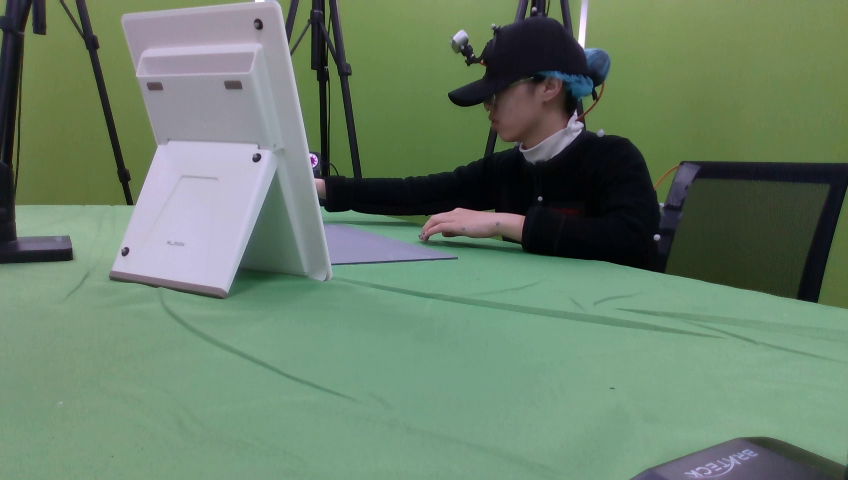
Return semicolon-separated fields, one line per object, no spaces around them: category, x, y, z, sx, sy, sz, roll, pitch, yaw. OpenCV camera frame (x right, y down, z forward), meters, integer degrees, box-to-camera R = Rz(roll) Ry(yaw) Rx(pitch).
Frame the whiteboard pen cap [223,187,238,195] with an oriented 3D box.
whiteboard pen cap;-0.403;-0.102;1.261;0.018;0.018;0.033;5;4;20

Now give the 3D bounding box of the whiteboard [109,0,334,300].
whiteboard;-0.247;-0.072;0.624;0.216;0.305;0.144;6;28;26

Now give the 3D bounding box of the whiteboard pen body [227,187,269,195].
whiteboard pen body;-0.384;-0.106;1.316;0.017;0.017;0.141;5;5;19
